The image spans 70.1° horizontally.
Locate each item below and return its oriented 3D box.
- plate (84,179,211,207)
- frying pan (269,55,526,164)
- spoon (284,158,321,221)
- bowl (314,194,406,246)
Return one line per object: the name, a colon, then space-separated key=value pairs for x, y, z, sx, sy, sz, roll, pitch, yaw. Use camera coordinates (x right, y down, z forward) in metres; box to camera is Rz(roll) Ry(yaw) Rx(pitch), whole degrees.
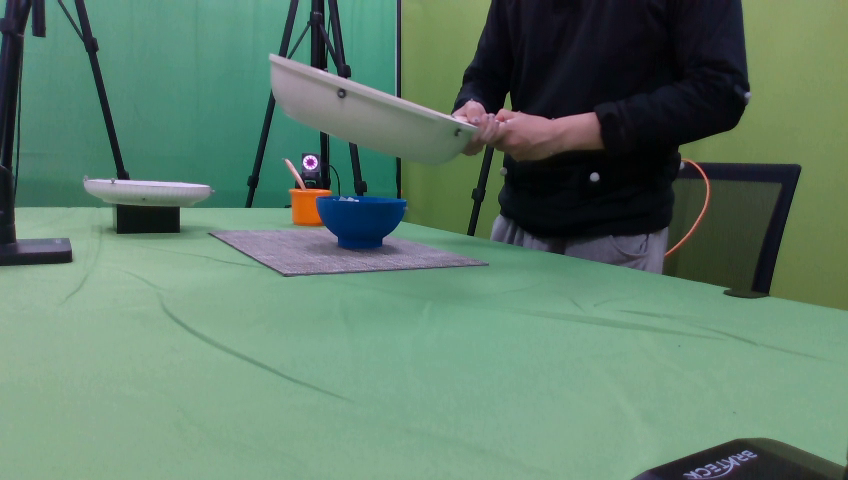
plate: x=-0.495 y=-0.085 z=1.093 sx=0.208 sy=0.039 sz=0.207 roll=4 pitch=7 yaw=0
frying pan: x=0.003 y=-0.182 z=0.898 sx=0.491 sy=0.102 sz=0.305 roll=-6 pitch=27 yaw=-44
spoon: x=-0.269 y=-0.113 z=1.336 sx=0.042 sy=0.193 sz=0.021 roll=-3 pitch=-35 yaw=-43
bowl: x=-0.106 y=-0.033 z=0.992 sx=0.151 sy=0.077 sz=0.151 roll=3 pitch=7 yaw=0
